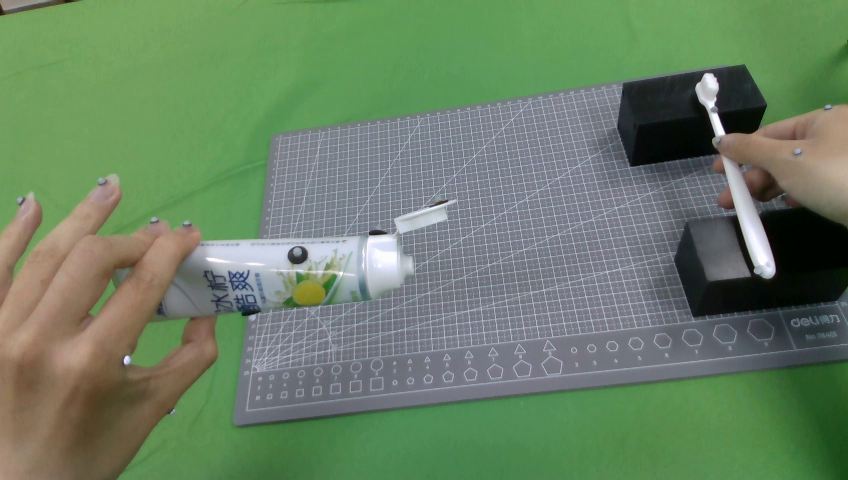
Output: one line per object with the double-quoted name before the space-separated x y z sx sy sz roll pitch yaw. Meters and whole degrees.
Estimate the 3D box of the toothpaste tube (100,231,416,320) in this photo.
"toothpaste tube" -0.087 0.016 0.325 0.165 0.055 0.034 -5 27 5

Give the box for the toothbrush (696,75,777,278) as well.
"toothbrush" 0.223 -0.053 0.435 0.014 0.017 0.180 2 57 -2

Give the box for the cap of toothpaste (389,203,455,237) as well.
"cap of toothpaste" 0.000 -0.011 0.316 0.037 0.037 0.011 -19 93 -2
